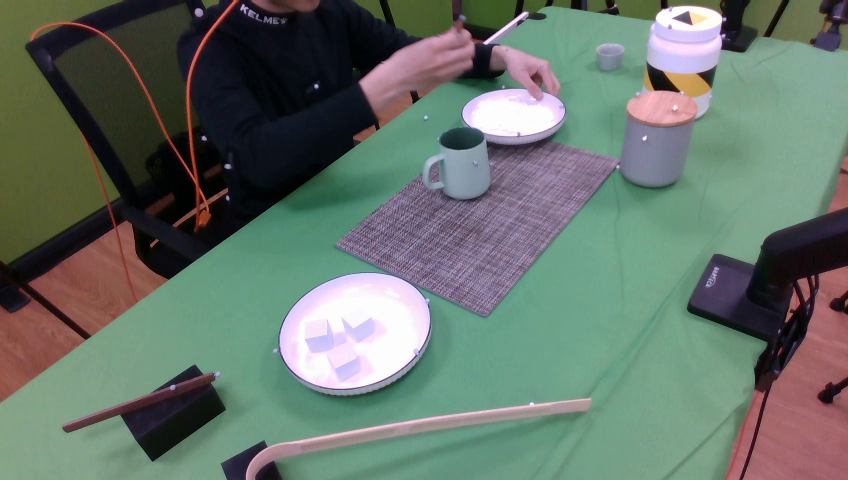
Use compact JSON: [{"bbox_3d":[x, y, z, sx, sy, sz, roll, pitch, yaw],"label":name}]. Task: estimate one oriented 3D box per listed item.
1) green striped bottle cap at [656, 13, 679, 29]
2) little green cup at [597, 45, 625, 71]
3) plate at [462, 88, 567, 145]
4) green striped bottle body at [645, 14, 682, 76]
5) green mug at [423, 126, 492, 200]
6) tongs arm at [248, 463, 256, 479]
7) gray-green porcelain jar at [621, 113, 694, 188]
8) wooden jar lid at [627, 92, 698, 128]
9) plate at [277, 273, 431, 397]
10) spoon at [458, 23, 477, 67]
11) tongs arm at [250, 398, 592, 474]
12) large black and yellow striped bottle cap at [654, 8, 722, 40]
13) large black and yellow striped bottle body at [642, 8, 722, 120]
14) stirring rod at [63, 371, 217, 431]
[{"bbox_3d":[0.515,-0.463,1.278,0.044,0.020,0.044,-6,42,5],"label":"green striped bottle cap"},{"bbox_3d":[0.422,-0.413,1.375,0.061,0.039,0.061,-3,41,3],"label":"little green cup"},{"bbox_3d":[0.180,-0.244,1.211,0.209,0.038,0.208,-3,39,3],"label":"plate"},{"bbox_3d":[0.520,-0.424,1.312,0.063,0.120,0.063,-4,41,4],"label":"green striped bottle body"},{"bbox_3d":[0.055,-0.125,1.039,0.126,0.105,0.091,-25,44,-18],"label":"green mug"},{"bbox_3d":[0.012,0.262,0.615,0.385,0.026,0.050,3,41,-2],"label":"tongs arm"},{"bbox_3d":[0.390,-0.161,1.020,0.106,0.127,0.105,-4,41,4],"label":"gray-green porcelain jar"},{"bbox_3d":[0.384,-0.207,0.980,0.108,0.021,0.108,-6,39,5],"label":"wooden jar lid"},{"bbox_3d":[-0.091,0.129,0.821,0.207,0.039,0.206,-4,40,4],"label":"plate"},{"bbox_3d":[0.068,-0.327,1.012,0.041,0.194,0.021,-44,83,6],"label":"spoon"},{"bbox_3d":[0.008,0.212,0.675,0.389,0.028,0.028,-5,46,-11],"label":"tongs arm"},{"bbox_3d":[0.483,-0.397,1.108,0.115,0.019,0.114,-3,41,3],"label":"large black and yellow striped bottle cap"},{"bbox_3d":[0.493,-0.334,1.161,0.131,0.185,0.130,-4,41,4],"label":"large black and yellow striped bottle body"},{"bbox_3d":[-0.337,0.192,0.723,0.177,0.014,0.005,-18,43,-12],"label":"stirring rod"}]
